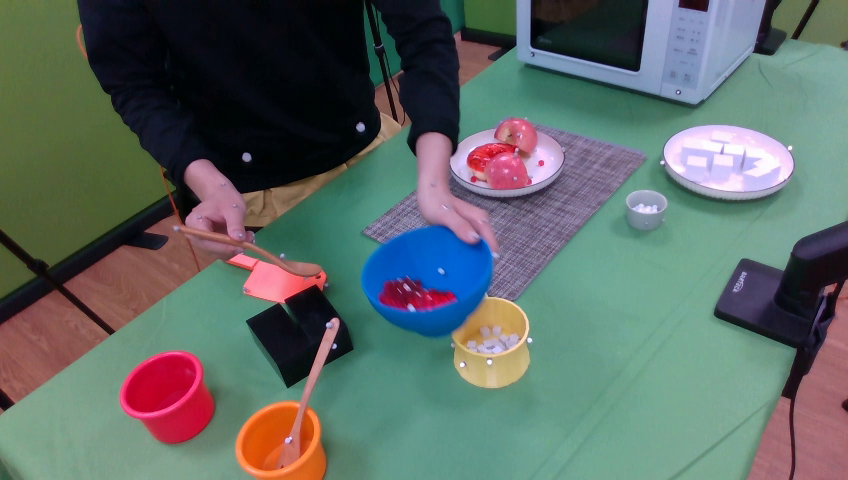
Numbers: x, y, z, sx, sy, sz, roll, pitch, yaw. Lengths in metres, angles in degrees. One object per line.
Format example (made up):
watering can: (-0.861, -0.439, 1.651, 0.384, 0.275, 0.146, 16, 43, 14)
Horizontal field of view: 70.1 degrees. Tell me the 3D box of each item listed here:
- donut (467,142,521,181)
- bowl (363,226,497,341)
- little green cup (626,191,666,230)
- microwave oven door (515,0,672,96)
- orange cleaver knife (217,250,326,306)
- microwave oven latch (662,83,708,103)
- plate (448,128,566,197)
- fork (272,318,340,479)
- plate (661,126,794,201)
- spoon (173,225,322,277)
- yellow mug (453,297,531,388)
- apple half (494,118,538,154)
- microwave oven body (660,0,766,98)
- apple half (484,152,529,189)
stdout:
donut: (0.126, -0.144, 1.090, 0.099, 0.048, 0.098, -6, 36, 5)
bowl: (0.014, 0.060, 0.684, 0.151, 0.077, 0.150, -9, 35, 7)
little green cup: (0.352, -0.046, 0.963, 0.061, 0.039, 0.061, -4, 40, 4)
microwave oven door: (0.343, -0.454, 1.259, 0.353, 0.245, 0.039, 26, 51, 33)
orange cleaver knife: (-0.248, 0.059, 0.945, 0.210, 0.012, 0.077, 12, 49, 20)
microwave oven latch: (0.518, -0.296, 1.204, 0.078, 0.029, 0.030, 27, 52, 35)
plate: (0.150, -0.138, 1.096, 0.209, 0.038, 0.208, -4, 40, 4)
fork: (-0.131, 0.186, 0.676, 0.028, 0.019, 0.207, 18, 90, 29)
plate: (0.513, -0.127, 1.036, 0.207, 0.039, 0.206, -4, 40, 4)
spoon: (-0.219, 0.013, 0.768, 0.195, 0.021, 0.041, 25, 11, -31)
yellow mug: (0.085, 0.120, 0.786, 0.100, 0.064, 0.130, -7, 39, 1)
apple half: (0.175, -0.196, 1.113, 0.080, 0.053, 0.075, 28, 12, 34)
microwave oven body: (0.473, -0.514, 1.317, 0.438, 0.261, 0.327, 26, 51, 34)
apple half: (0.144, -0.116, 1.032, 0.081, 0.033, 0.081, 3, 77, -11)
